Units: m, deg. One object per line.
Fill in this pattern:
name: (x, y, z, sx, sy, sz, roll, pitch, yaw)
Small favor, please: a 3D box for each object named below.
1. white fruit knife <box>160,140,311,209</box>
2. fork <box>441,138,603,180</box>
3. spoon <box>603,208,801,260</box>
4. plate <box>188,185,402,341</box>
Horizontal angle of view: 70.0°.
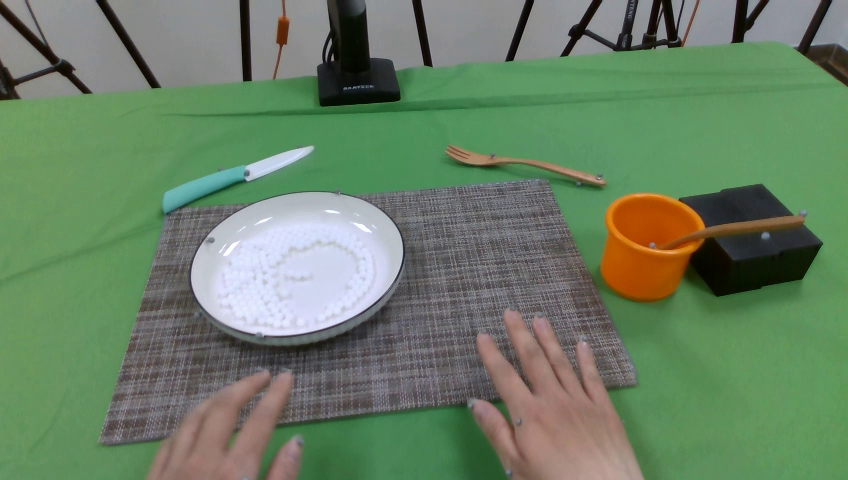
white fruit knife: (-0.229, -0.088, 0.750, 0.207, 0.016, 0.027, -28, 72, -31)
fork: (0.120, -0.100, 0.758, 0.206, 0.019, 0.028, 12, 38, 16)
spoon: (0.244, -0.006, 0.559, 0.041, 0.193, 0.021, -31, 94, -33)
plate: (-0.124, 0.022, 0.607, 0.209, 0.038, 0.207, 0, 42, 1)
